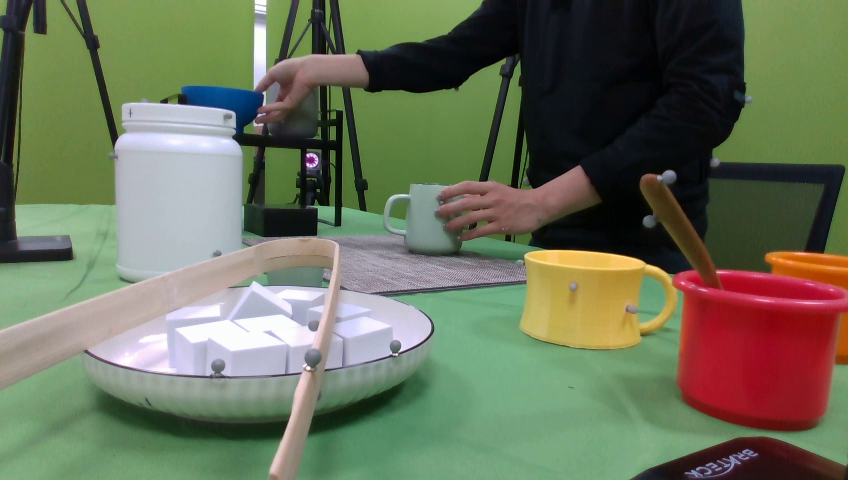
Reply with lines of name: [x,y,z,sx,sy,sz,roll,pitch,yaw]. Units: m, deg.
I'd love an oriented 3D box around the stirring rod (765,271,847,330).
stirring rod: [0.352,0.020,0.481,0.176,0.006,0.014,-40,-8,17]

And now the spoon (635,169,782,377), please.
spoon: [0.161,0.026,0.346,0.021,0.194,0.041,-51,32,-19]

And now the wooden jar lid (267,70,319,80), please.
wooden jar lid: [-0.275,-0.340,1.271,0.108,0.020,0.108,5,6,0]

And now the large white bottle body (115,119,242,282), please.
large white bottle body: [-0.270,-0.051,0.674,0.131,0.184,0.130,2,8,0]

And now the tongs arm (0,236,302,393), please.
tongs arm: [-0.157,0.038,0.347,0.028,0.028,0.388,-3,8,11]

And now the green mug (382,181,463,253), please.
green mug: [-0.001,-0.036,0.921,0.126,0.105,0.092,0,8,-15]

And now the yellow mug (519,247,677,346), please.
yellow mug: [0.148,0.045,0.513,0.131,0.064,0.100,3,6,0]

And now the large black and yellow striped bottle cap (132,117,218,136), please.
large black and yellow striped bottle cap: [-0.359,-0.164,0.875,0.115,0.019,0.115,2,6,0]

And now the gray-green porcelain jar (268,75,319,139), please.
gray-green porcelain jar: [-0.277,-0.278,1.280,0.106,0.126,0.106,2,8,0]

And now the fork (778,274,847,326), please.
fork: [0.332,0.018,0.443,0.028,0.018,0.207,-3,-35,-16]

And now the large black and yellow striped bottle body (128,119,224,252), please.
large black and yellow striped bottle body: [-0.361,-0.081,0.887,0.131,0.184,0.130,2,8,0]

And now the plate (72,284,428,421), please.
plate: [-0.102,0.067,0.381,0.208,0.039,0.207,3,7,0]

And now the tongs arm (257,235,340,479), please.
tongs arm: [-0.074,0.040,0.345,0.051,0.026,0.384,-1,10,-3]

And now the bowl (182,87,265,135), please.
bowl: [-0.383,-0.244,1.159,0.151,0.077,0.151,2,7,0]

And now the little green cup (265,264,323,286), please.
little green cup: [-0.134,0.033,0.628,0.061,0.038,0.061,3,7,0]

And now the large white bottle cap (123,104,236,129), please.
large white bottle cap: [-0.266,-0.134,0.663,0.115,0.018,0.115,3,7,0]
